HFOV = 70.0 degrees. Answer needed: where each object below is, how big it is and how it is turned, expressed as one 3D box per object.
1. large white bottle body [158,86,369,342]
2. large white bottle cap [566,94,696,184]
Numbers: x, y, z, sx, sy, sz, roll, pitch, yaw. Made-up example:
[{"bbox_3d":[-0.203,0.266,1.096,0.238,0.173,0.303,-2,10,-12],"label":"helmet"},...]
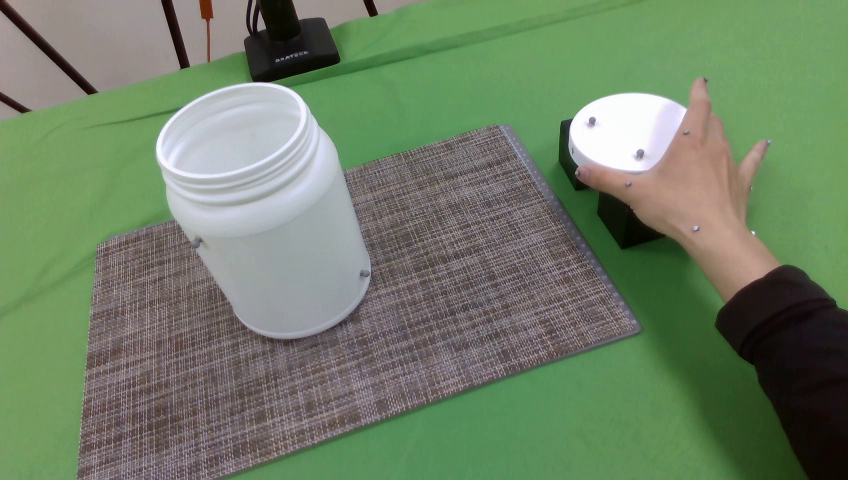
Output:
[{"bbox_3d":[-0.124,-0.017,0.494,0.130,0.186,0.129,-5,48,5],"label":"large white bottle body"},{"bbox_3d":[0.190,-0.095,0.559,0.115,0.018,0.113,-4,48,5],"label":"large white bottle cap"}]
